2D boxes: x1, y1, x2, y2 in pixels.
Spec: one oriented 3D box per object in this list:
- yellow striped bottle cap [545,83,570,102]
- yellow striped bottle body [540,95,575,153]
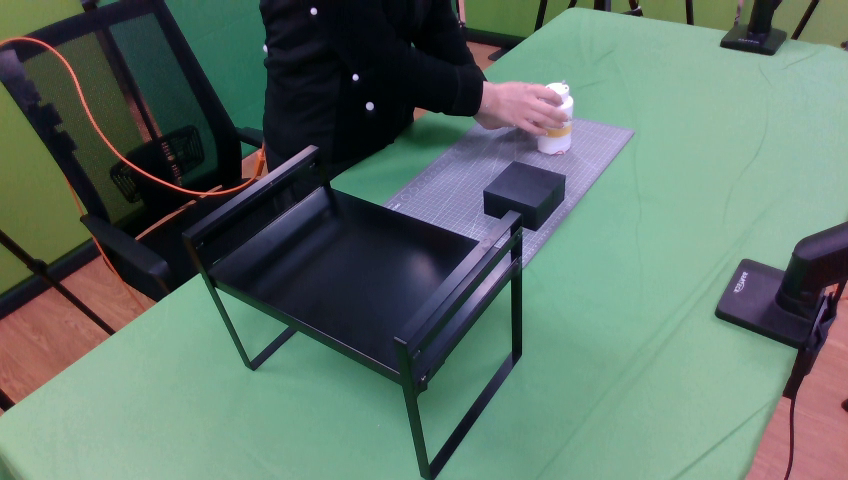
[{"bbox_3d":[0.241,-0.267,1.089,0.044,0.019,0.044,-5,38,4],"label":"yellow striped bottle cap"},{"bbox_3d":[0.247,-0.228,1.124,0.063,0.121,0.062,-5,42,5],"label":"yellow striped bottle body"}]
